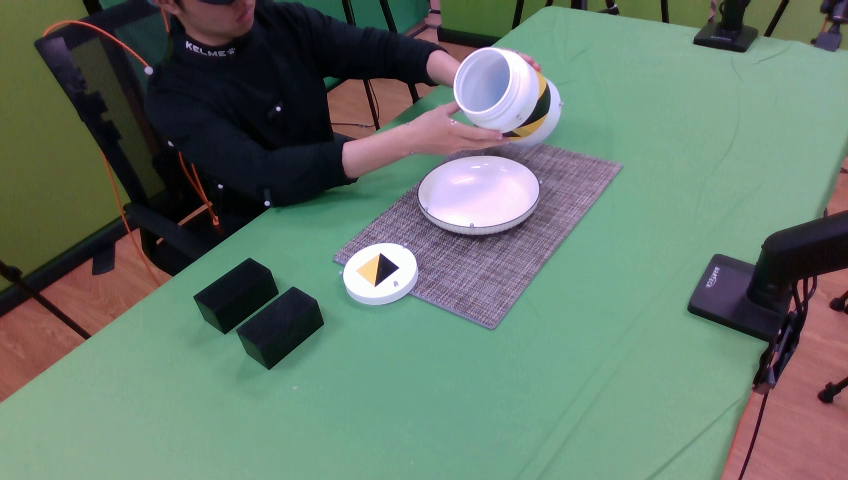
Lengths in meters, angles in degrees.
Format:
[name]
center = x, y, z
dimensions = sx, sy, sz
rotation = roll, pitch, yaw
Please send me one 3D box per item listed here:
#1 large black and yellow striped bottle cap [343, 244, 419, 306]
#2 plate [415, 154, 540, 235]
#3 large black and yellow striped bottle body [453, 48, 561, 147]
[large black and yellow striped bottle cap]
center = -0.066, 0.051, 0.918
dimensions = 0.115, 0.019, 0.114
rotation = -6, 43, 6
[plate]
center = 0.090, -0.074, 1.025
dimensions = 0.207, 0.039, 0.206
rotation = -4, 41, 4
[large black and yellow striped bottle body]
center = 0.143, -0.242, 1.034
dimensions = 0.129, 0.130, 0.185
rotation = 27, 9, 34
